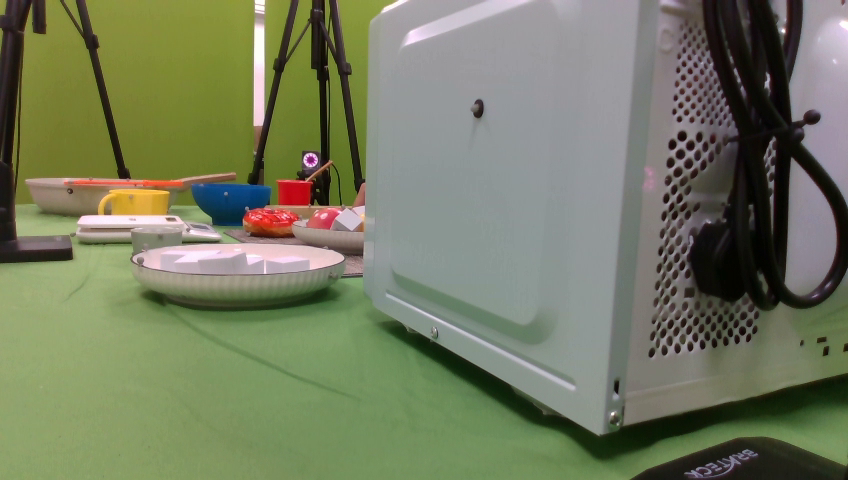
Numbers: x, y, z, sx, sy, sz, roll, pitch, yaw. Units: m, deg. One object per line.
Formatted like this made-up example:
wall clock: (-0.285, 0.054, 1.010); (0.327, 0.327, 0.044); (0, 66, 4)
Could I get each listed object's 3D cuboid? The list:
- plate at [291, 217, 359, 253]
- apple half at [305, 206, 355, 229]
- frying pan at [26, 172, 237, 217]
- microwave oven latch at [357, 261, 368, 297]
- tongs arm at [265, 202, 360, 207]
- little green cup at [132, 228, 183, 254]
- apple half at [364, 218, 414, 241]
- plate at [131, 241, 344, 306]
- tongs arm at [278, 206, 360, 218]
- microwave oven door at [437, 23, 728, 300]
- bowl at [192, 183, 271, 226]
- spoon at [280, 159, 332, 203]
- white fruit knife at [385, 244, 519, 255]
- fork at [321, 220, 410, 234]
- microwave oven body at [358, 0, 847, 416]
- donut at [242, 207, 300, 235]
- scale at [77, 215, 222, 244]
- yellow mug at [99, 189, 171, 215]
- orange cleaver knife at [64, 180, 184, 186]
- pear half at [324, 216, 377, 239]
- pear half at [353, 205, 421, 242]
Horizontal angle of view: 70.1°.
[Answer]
plate: (-0.103, -0.009, 0.945); (0.209, 0.038, 0.209); (2, 7, 0)
apple half: (-0.138, -0.025, 0.917); (0.081, 0.053, 0.074); (0, 10, -43)
frying pan: (-0.624, -0.118, 1.387); (0.305, 0.102, 0.490); (8, 17, 32)
microwave oven latch: (-0.019, 0.033, 0.531); (0.079, 0.029, 0.030); (-1, 7, -27)
tongs arm: (-0.218, -0.075, 1.470); (0.389, 0.027, 0.028); (0, 1, -26)
little green cup: (-0.342, 0.006, 0.779); (0.061, 0.038, 0.061); (2, 8, 0)
apple half: (-0.054, -0.019, 0.968); (0.081, 0.033, 0.081); (-3, 10, 1)
plate: (-0.187, 0.033, 0.625); (0.208, 0.039, 0.207); (2, 8, 0)
tongs arm: (-0.171, -0.067, 1.402); (0.387, 0.026, 0.050); (-3, 6, -40)
microwave oven door: (0.180, -0.072, 0.621); (0.358, 0.243, 0.039); (-2, 8, -29)
bowl: (-0.382, -0.070, 1.202); (0.151, 0.077, 0.151); (3, 7, 0)
spoon: (-0.316, -0.159, 1.640); (0.194, 0.022, 0.041); (-50, 32, -20)
white fruit knife: (0.042, 0.016, 0.876); (0.208, 0.016, 0.027); (-1, 10, -24)
fork: (-0.105, -0.025, 1.131); (0.208, 0.028, 0.018); (-1, 33, -41)
microwave oven body: (0.211, -0.047, 0.475); (0.444, 0.260, 0.324); (-1, 7, -28)
donut: (-0.263, -0.032, 1.039); (0.099, 0.048, 0.099); (4, 10, 0)
scale: (-0.434, -0.019, 0.963); (0.202, 0.031, 0.148); (-1, 9, -27)
yellow mug: (-0.518, -0.055, 1.080); (0.099, 0.064, 0.131); (7, 9, 26)
orange cleaver knife: (-0.595, -0.114, 1.212); (0.212, 0.012, 0.077); (-4, 6, -41)
pear half: (-0.119, -0.023, 0.996); (0.088, 0.031, 0.070); (-4, 23, -27)
pear half: (-0.051, -0.024, 0.905); (0.110, 0.056, 0.076); (2, -1, -38)
